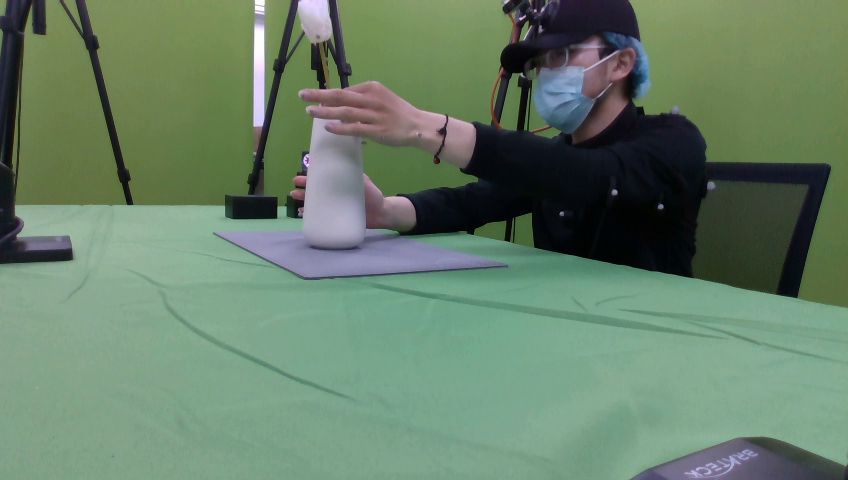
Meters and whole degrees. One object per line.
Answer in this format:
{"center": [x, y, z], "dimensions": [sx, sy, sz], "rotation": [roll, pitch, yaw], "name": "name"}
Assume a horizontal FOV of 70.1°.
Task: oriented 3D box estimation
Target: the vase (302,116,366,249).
{"center": [-0.138, -0.087, 0.930], "dimensions": [0.098, 0.200, 0.098], "rotation": [2, 8, 0], "name": "vase"}

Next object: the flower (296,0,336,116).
{"center": [-0.132, -0.168, 0.900], "dimensions": [0.038, 0.362, 0.044], "rotation": [11, 30, 39], "name": "flower"}
